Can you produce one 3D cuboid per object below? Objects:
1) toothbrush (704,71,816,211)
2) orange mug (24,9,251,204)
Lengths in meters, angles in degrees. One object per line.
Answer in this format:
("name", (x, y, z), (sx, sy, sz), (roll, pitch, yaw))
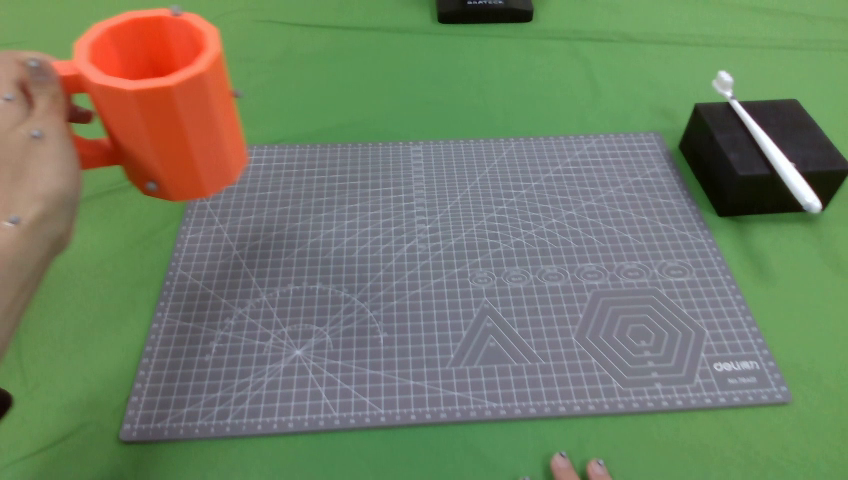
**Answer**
("toothbrush", (0.286, -0.091, 0.523), (0.014, 0.017, 0.180), (-3, 48, -7))
("orange mug", (-0.185, -0.085, 0.402), (0.126, 0.101, 0.082), (-8, 52, -17))
